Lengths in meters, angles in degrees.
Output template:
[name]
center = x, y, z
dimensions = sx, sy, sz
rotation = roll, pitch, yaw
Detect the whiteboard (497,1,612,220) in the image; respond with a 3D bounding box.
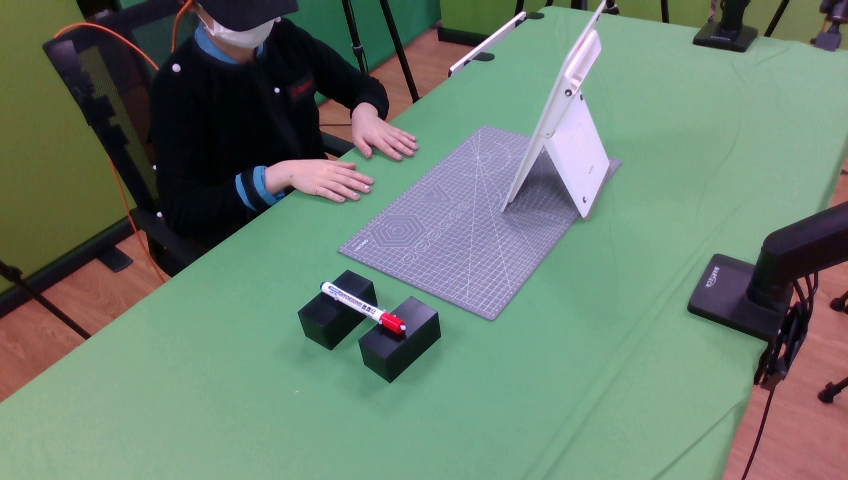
[whiteboard]
center = 0.260, -0.178, 0.963
dimensions = 0.143, 0.306, 0.217
rotation = 28, 49, 9

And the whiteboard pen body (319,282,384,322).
[whiteboard pen body]
center = -0.088, 0.086, 0.806
dimensions = 0.139, 0.017, 0.017
rotation = 23, 49, 32

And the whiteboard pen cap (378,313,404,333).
[whiteboard pen cap]
center = -0.043, 0.106, 0.777
dimensions = 0.032, 0.017, 0.017
rotation = 23, 49, 33
